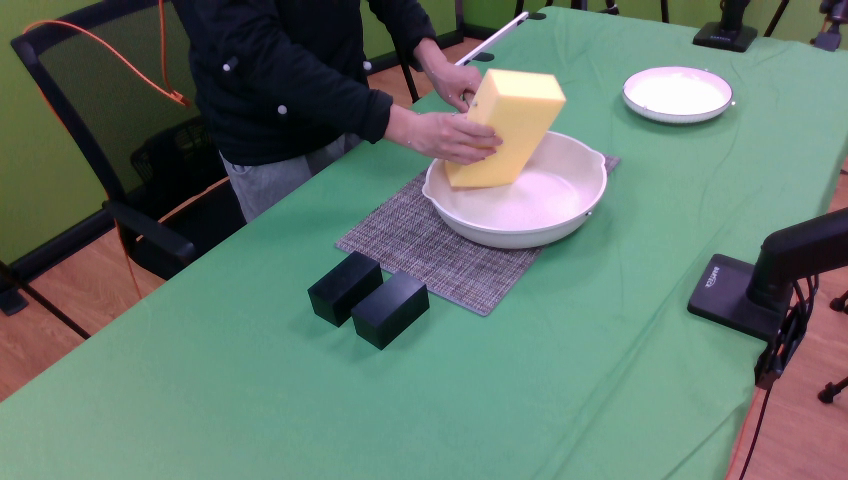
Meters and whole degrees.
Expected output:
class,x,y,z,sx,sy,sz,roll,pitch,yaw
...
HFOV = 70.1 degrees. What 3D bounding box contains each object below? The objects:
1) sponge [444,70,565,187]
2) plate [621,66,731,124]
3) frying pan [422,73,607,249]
class,x,y,z,sx,sy,sz,roll,pitch,yaw
sponge,0.125,-0.175,0.991,0.119,0.206,0.060,-1,55,-23
plate,0.503,-0.288,1.221,0.207,0.039,0.206,-4,41,4
frying pan,0.130,-0.161,1.069,0.307,0.103,0.484,-10,49,-5
